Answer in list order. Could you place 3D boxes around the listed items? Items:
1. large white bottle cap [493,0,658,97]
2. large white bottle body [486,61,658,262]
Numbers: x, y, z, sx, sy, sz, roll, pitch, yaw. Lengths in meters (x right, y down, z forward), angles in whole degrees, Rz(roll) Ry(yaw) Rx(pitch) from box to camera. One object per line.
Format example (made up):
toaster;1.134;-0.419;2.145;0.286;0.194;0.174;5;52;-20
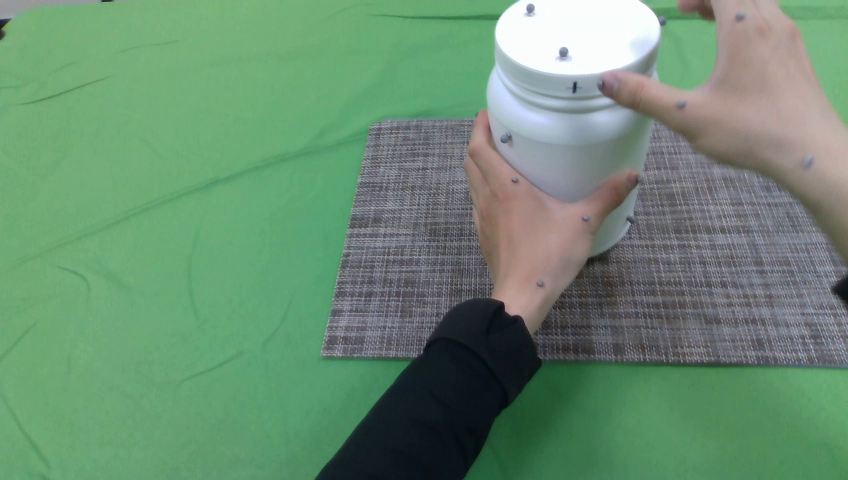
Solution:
large white bottle cap;0.107;-0.142;0.434;0.115;0.018;0.113;-3;49;4
large white bottle body;0.117;-0.085;0.501;0.130;0.186;0.129;-4;49;4
